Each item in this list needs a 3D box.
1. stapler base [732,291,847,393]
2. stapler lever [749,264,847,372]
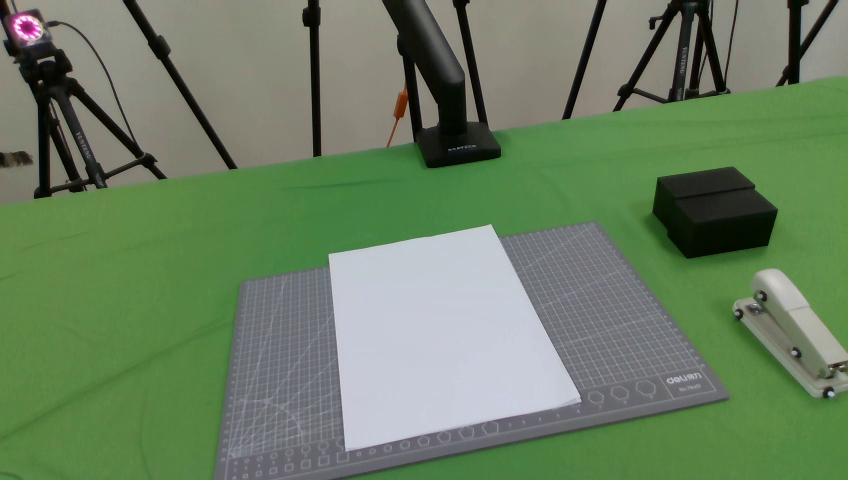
[{"bbox_3d":[0.347,0.086,0.574,0.041,0.024,0.129,-12,38,-6],"label":"stapler base"},{"bbox_3d":[0.345,0.067,0.558,0.027,0.040,0.117,-12,36,-6],"label":"stapler lever"}]
